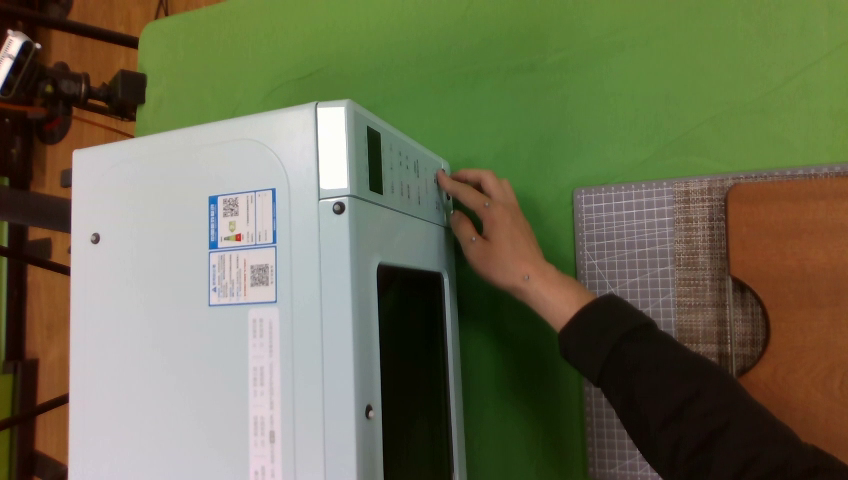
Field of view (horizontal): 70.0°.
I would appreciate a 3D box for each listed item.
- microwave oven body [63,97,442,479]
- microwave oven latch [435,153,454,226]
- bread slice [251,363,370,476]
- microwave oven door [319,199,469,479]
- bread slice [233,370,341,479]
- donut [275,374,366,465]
[{"bbox_3d":[-0.154,0.125,0.617,0.325,0.261,0.440,-5,84,21],"label":"microwave oven body"},{"bbox_3d":[0.013,-0.055,0.669,0.030,0.029,0.079,-10,83,20],"label":"microwave oven latch"},{"bbox_3d":[-0.130,0.194,0.666,0.131,0.019,0.105,11,94,16],"label":"bread slice"},{"bbox_3d":[-0.018,0.153,0.555,0.039,0.245,0.355,-6,83,22],"label":"microwave oven door"},{"bbox_3d":[-0.137,0.187,0.590,0.134,0.018,0.106,-17,81,34],"label":"bread slice"},{"bbox_3d":[-0.108,0.186,0.630,0.099,0.048,0.099,2,102,10],"label":"donut"}]
